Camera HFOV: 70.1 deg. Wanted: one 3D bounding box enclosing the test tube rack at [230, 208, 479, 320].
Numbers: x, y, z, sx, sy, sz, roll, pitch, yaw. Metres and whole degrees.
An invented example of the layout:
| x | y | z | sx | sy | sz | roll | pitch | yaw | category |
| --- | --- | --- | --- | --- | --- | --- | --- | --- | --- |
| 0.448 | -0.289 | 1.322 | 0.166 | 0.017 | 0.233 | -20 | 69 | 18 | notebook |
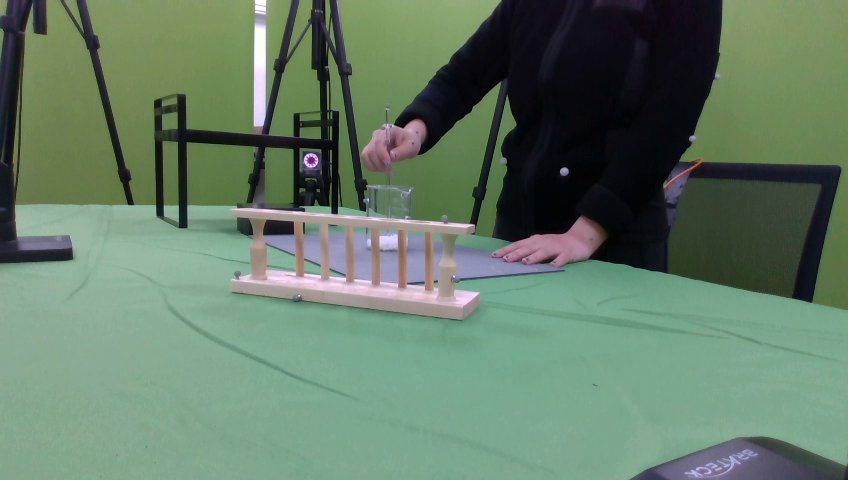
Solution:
| x | y | z | sx | sy | sz | roll | pitch | yaw | category |
| --- | --- | --- | --- | --- | --- | --- | --- | --- | --- |
| -0.069 | 0.017 | 0.598 | 0.242 | 0.085 | 0.067 | 5 | 8 | 18 | test tube rack |

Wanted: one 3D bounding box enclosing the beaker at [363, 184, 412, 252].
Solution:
| x | y | z | sx | sy | sz | roll | pitch | yaw | category |
| --- | --- | --- | --- | --- | --- | --- | --- | --- | --- |
| -0.055 | -0.034 | 0.935 | 0.074 | 0.100 | 0.083 | -5 | 11 | -44 | beaker |

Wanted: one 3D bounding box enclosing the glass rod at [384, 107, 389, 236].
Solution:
| x | y | z | sx | sy | sz | roll | pitch | yaw | category |
| --- | --- | --- | --- | --- | --- | --- | --- | --- | --- |
| -0.059 | -0.104 | 0.937 | 0.008 | 0.199 | 0.008 | 1 | 7 | 0 | glass rod |
